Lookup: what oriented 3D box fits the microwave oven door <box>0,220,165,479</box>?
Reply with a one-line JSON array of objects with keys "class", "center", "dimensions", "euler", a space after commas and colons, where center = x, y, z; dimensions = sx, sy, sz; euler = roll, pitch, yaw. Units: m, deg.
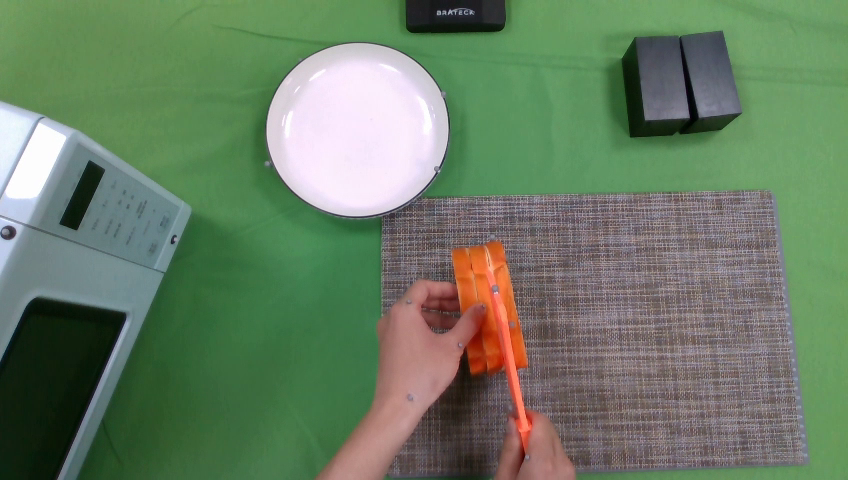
[{"class": "microwave oven door", "center": [-0.356, 0.168, 0.516], "dimensions": [0.039, 0.244, 0.354], "euler": [19, 80, 4]}]

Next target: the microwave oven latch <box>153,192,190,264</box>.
[{"class": "microwave oven latch", "center": [-0.280, -0.016, 0.652], "dimensions": [0.030, 0.029, 0.079], "euler": [21, 81, 3]}]

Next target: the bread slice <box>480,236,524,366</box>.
[{"class": "bread slice", "center": [0.078, 0.064, 0.622], "dimensions": [0.018, 0.107, 0.133], "euler": [-9, 80, -1]}]

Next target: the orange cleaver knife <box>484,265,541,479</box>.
[{"class": "orange cleaver knife", "center": [0.080, 0.127, 0.549], "dimensions": [0.012, 0.077, 0.212], "euler": [-13, 106, 1]}]

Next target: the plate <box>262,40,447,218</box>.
[{"class": "plate", "center": [-0.077, -0.124, 0.692], "dimensions": [0.208, 0.039, 0.207], "euler": [0, 80, -1]}]

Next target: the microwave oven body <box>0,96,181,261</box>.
[{"class": "microwave oven body", "center": [-0.480, 0.082, 0.535], "dimensions": [0.326, 0.261, 0.440], "euler": [19, 81, 3]}]
